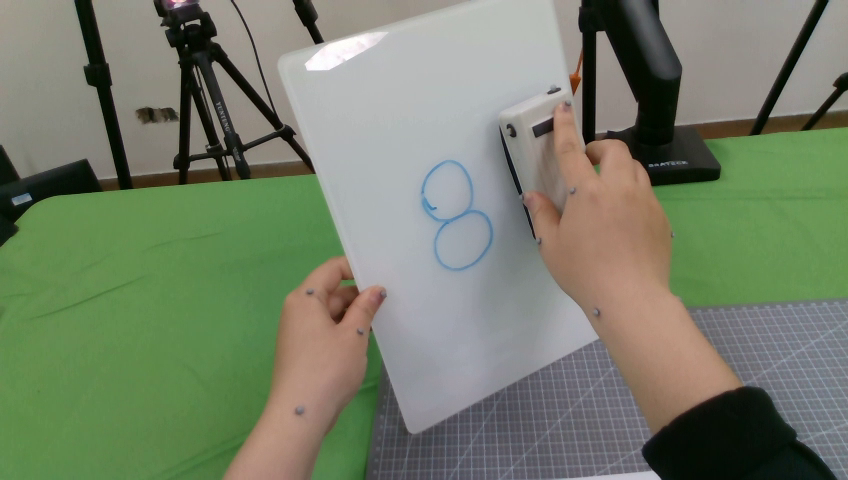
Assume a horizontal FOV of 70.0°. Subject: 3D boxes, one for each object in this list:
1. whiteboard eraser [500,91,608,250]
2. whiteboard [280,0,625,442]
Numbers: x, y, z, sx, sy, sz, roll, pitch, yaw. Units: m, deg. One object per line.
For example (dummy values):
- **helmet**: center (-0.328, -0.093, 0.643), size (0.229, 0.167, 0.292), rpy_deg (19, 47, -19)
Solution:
- **whiteboard eraser**: center (0.099, -0.052, 0.465), size (0.055, 0.113, 0.041), rpy_deg (-25, 18, -13)
- **whiteboard**: center (0.019, -0.030, 0.529), size (0.217, 0.307, 0.143), rpy_deg (-22, 18, -17)
